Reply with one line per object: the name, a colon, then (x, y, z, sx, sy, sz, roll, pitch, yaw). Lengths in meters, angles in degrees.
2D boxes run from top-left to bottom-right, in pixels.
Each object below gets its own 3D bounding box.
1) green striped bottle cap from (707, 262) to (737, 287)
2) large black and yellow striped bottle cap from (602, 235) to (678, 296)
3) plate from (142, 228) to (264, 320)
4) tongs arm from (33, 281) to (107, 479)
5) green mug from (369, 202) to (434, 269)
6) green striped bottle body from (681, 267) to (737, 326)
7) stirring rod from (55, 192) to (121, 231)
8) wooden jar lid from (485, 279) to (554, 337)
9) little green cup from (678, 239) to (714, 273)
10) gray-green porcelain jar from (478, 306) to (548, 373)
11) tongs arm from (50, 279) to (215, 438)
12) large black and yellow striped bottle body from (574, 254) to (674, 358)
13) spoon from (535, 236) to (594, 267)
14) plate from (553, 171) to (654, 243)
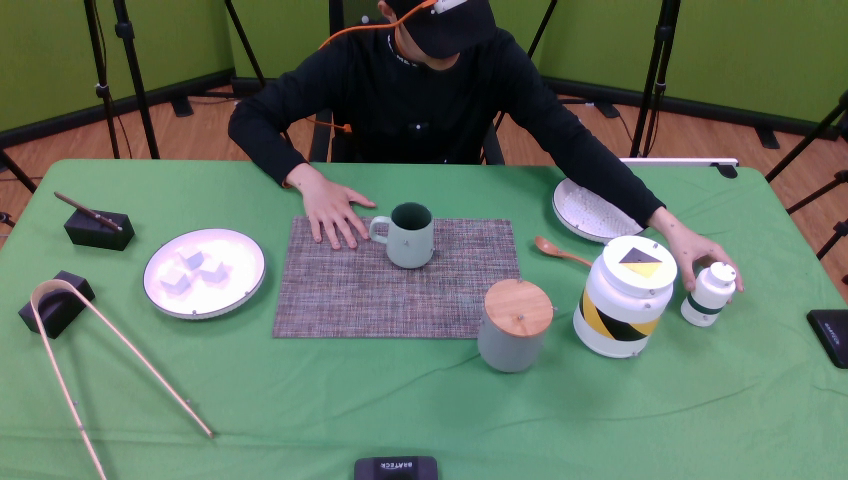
green striped bottle cap: (0.510, 0.058, 1.035, 0.044, 0.020, 0.044, -1, 46, 1)
large black and yellow striped bottle cap: (0.340, 0.037, 0.956, 0.115, 0.019, 0.114, 2, 47, -2)
plate: (-0.394, 0.064, 1.095, 0.208, 0.039, 0.206, 2, 46, -2)
tongs arm: (-0.517, 0.214, 0.910, 0.051, 0.026, 0.383, -28, 63, -27)
green mug: (-0.042, -0.010, 1.140, 0.125, 0.105, 0.092, 7, 46, 4)
green striped bottle body: (0.508, 0.094, 1.073, 0.063, 0.120, 0.063, 3, 46, -3)
stirring rod: (-0.632, -0.055, 1.138, 0.175, 0.014, 0.006, 24, 50, 19)
wooden jar lid: (0.147, 0.108, 0.940, 0.108, 0.021, 0.107, 4, 47, -4)
little green cup: (0.531, 0.033, 1.190, 0.061, 0.039, 0.061, 2, 47, -2)
gray-green porcelain jar: (0.144, 0.148, 0.989, 0.106, 0.127, 0.105, 2, 50, -2)
tongs arm: (-0.459, 0.178, 0.949, 0.386, 0.028, 0.028, 37, 60, 17)
large black and yellow striped bottle body: (0.335, 0.096, 1.014, 0.131, 0.185, 0.130, 2, 45, -2)
spoon: (0.303, 0.040, 1.178, 0.193, 0.022, 0.041, 25, 31, 19)
plate: (0.373, -0.066, 1.274, 0.209, 0.038, 0.208, 2, 46, -2)
